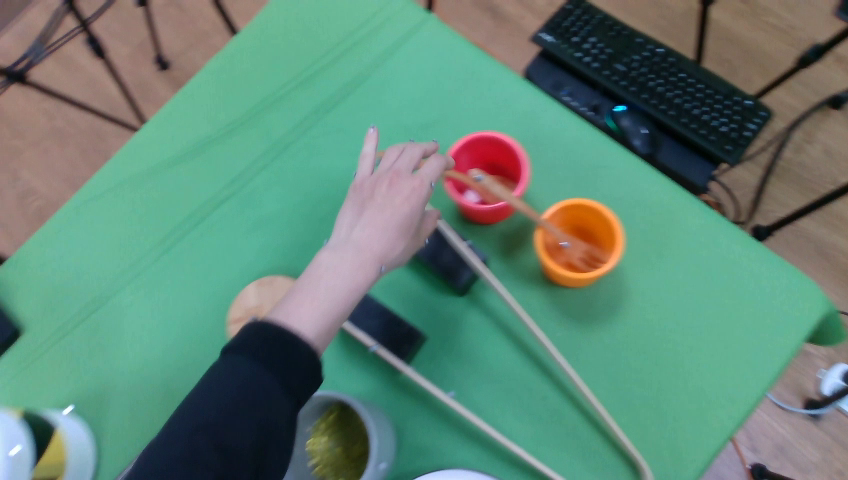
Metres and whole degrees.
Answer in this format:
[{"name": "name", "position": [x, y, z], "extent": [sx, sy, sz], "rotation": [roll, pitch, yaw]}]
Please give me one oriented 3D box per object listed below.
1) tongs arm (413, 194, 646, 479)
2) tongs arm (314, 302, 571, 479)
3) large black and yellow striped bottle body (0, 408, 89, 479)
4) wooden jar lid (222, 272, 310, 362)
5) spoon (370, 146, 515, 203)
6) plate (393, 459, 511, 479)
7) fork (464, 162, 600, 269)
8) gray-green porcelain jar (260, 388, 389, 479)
[{"name": "tongs arm", "position": [0.109, 0.101, 0.647], "extent": [0.028, 0.028, 0.386], "rotation": [-38, 83, -11]}, {"name": "tongs arm", "position": [0.051, 0.164, 0.637], "extent": [0.384, 0.026, 0.050], "rotation": [36, 81, 5]}, {"name": "large black and yellow striped bottle body", "position": [-0.468, 0.242, 0.635], "extent": [0.130, 0.185, 0.130], "rotation": [-2, 73, 7]}, {"name": "wooden jar lid", "position": [-0.188, 0.093, 0.727], "extent": [0.108, 0.021, 0.108], "rotation": [-2, 75, 6]}, {"name": "spoon", "position": [0.026, -0.079, 0.683], "extent": [0.195, 0.021, 0.041], "rotation": [14, 74, -35]}, {"name": "plate", "position": [0.030, 0.333, 0.620], "extent": [0.207, 0.039, 0.206], "rotation": [-2, 74, 7]}, {"name": "fork", "position": [0.120, -0.025, 0.652], "extent": [0.209, 0.018, 0.028], "rotation": [33, 88, -29]}, {"name": "gray-green porcelain jar", "position": [-0.095, 0.209, 0.625], "extent": [0.106, 0.127, 0.105], "rotation": [-2, 73, 7]}]
